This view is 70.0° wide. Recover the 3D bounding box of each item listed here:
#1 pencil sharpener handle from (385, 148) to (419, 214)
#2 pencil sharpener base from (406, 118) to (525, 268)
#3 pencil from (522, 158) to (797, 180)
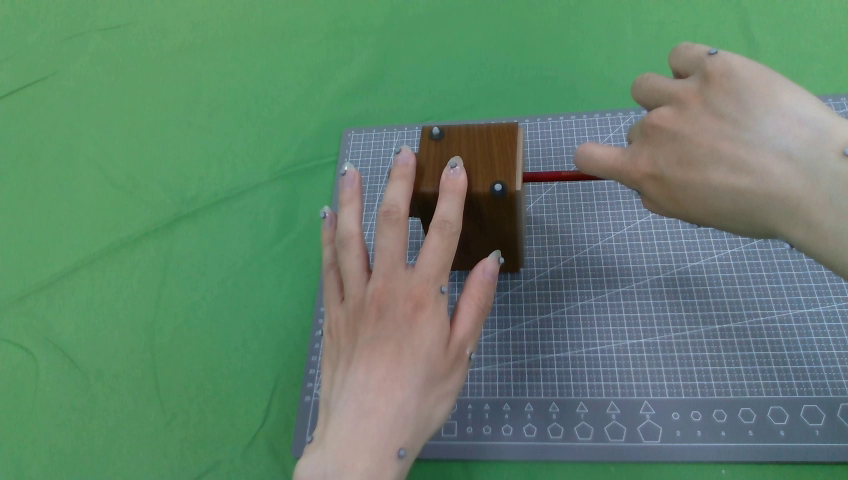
[{"bbox_3d":[-0.019,-0.038,0.435,0.030,0.068,0.035,1,62,11],"label":"pencil sharpener handle"},{"bbox_3d":[0.033,-0.030,0.436,0.076,0.108,0.061,1,58,11],"label":"pencil sharpener base"},{"bbox_3d":[0.136,-0.044,0.393,0.194,0.012,0.012,-1,58,10],"label":"pencil"}]
